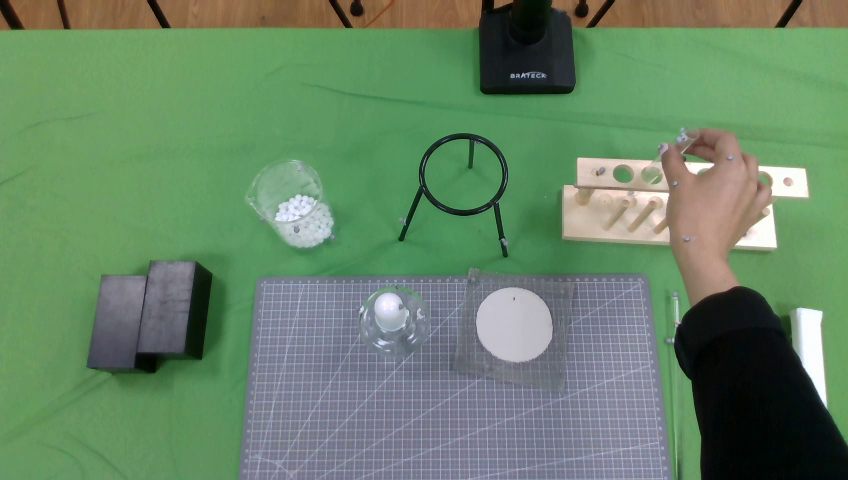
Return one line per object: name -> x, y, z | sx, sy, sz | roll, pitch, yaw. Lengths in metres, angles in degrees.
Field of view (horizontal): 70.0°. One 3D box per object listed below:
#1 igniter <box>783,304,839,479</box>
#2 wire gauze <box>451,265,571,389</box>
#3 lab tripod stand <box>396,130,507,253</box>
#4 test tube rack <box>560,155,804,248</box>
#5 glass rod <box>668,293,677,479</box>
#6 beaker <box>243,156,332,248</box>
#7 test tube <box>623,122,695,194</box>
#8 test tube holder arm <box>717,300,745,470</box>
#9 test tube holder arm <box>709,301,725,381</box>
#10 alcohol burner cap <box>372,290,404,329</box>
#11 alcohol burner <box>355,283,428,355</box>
igniter -> 0.402, 0.204, 0.632 | 0.057, 0.025, 0.275 | 9, 72, -7
wire gauze -> 0.099, 0.094, 0.678 | 0.125, 0.011, 0.121 | 10, 73, 3
lab tripod stand -> 0.035, -0.047, 0.661 | 0.148, 0.132, 0.147 | 0, 74, 1
test tube rack -> 0.282, -0.042, 0.682 | 0.242, 0.085, 0.066 | 3, 72, 2
glass rod -> 0.270, 0.155, 0.658 | 0.008, 0.008, 0.198 | 5, 74, 2
beaker -> -0.147, -0.037, 0.678 | 0.084, 0.101, 0.073 | -8, 71, -1
test tube -> 0.241, -0.081, 0.630 | 0.017, 0.151, 0.017 | 1, 73, -3
test tube holder arm -> 0.329, 0.153, 0.651 | 0.013, 0.015, 0.177 | -13, 67, 36
test tube holder arm -> 0.325, 0.111, 0.669 | 0.010, 0.015, 0.087 | -12, 67, 37
alcohol burner cap -> -0.036, 0.066, 0.595 | 0.034, 0.048, 0.033 | 0, 65, 0
alcohol burner -> -0.035, 0.079, 0.629 | 0.078, 0.120, 0.077 | -1, 72, 3
